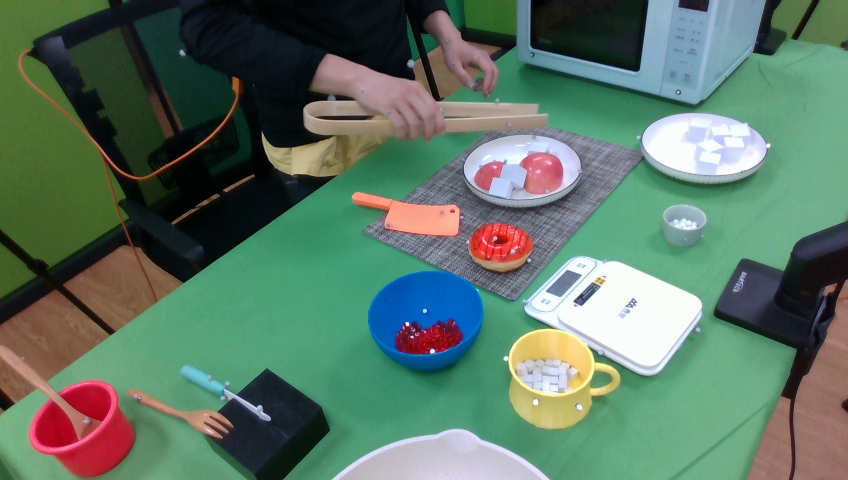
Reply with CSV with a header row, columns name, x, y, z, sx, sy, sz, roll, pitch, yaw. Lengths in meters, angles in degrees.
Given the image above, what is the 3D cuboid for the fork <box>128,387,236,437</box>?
name,x,y,z,sx,sy,sz,roll,pitch,yaw
fork,-0.305,0.207,0.744,0.206,0.019,0.028,3,41,36

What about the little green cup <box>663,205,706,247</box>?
name,x,y,z,sx,sy,sz,roll,pitch,yaw
little green cup,0.396,-0.020,0.926,0.061,0.039,0.061,-4,40,4

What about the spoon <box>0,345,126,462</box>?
name,x,y,z,sx,sy,sz,roll,pitch,yaw
spoon,-0.434,0.192,0.720,0.194,0.021,0.042,47,53,-7

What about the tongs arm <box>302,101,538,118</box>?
name,x,y,z,sx,sy,sz,roll,pitch,yaw
tongs arm,0.004,-0.199,0.959,0.386,0.026,0.050,-1,44,-11

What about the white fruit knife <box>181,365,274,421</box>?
name,x,y,z,sx,sy,sz,roll,pitch,yaw
white fruit knife,-0.245,0.187,0.747,0.205,0.027,0.016,9,41,40

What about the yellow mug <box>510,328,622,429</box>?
name,x,y,z,sx,sy,sz,roll,pitch,yaw
yellow mug,0.169,0.164,0.721,0.130,0.064,0.099,0,40,8

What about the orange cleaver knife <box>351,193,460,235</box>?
name,x,y,z,sx,sy,sz,roll,pitch,yaw
orange cleaver knife,-0.036,-0.044,1.029,0.210,0.012,0.077,10,49,18

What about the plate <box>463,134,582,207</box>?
name,x,y,z,sx,sy,sz,roll,pitch,yaw
plate,0.173,-0.119,1.070,0.209,0.038,0.208,-4,40,4

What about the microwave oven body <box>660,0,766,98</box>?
name,x,y,z,sx,sy,sz,roll,pitch,yaw
microwave oven body,0.472,-0.513,1.317,0.438,0.261,0.327,26,51,34

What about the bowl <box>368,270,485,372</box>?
name,x,y,z,sx,sy,sz,roll,pitch,yaw
bowl,0.007,0.118,0.791,0.151,0.077,0.150,-4,40,4

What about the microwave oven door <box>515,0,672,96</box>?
name,x,y,z,sx,sy,sz,roll,pitch,yaw
microwave oven door,0.343,-0.454,1.259,0.353,0.245,0.039,26,51,33

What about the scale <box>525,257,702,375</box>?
name,x,y,z,sx,sy,sz,roll,pitch,yaw
scale,0.254,0.091,0.821,0.199,0.032,0.149,28,51,35

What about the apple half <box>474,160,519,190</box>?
name,x,y,z,sx,sy,sz,roll,pitch,yaw
apple half,0.131,-0.120,1.068,0.081,0.033,0.081,-3,36,3

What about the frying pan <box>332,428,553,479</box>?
name,x,y,z,sx,sy,sz,roll,pitch,yaw
frying pan,-0.089,0.306,0.564,0.487,0.103,0.306,10,41,7

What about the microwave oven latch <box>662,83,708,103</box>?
name,x,y,z,sx,sy,sz,roll,pitch,yaw
microwave oven latch,0.517,-0.296,1.204,0.078,0.029,0.030,27,52,35

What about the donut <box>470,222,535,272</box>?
name,x,y,z,sx,sy,sz,roll,pitch,yaw
donut,0.119,0.009,0.923,0.099,0.048,0.098,-3,39,3

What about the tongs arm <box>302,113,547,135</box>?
name,x,y,z,sx,sy,sz,roll,pitch,yaw
tongs arm,0.009,-0.181,0.941,0.389,0.028,0.028,-3,48,-14

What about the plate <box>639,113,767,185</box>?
name,x,y,z,sx,sy,sz,roll,pitch,yaw
plate,0.489,-0.157,1.074,0.207,0.039,0.206,-4,40,4

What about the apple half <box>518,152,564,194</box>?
name,x,y,z,sx,sy,sz,roll,pitch,yaw
apple half,0.204,-0.124,1.048,0.075,0.053,0.080,-7,41,-3
